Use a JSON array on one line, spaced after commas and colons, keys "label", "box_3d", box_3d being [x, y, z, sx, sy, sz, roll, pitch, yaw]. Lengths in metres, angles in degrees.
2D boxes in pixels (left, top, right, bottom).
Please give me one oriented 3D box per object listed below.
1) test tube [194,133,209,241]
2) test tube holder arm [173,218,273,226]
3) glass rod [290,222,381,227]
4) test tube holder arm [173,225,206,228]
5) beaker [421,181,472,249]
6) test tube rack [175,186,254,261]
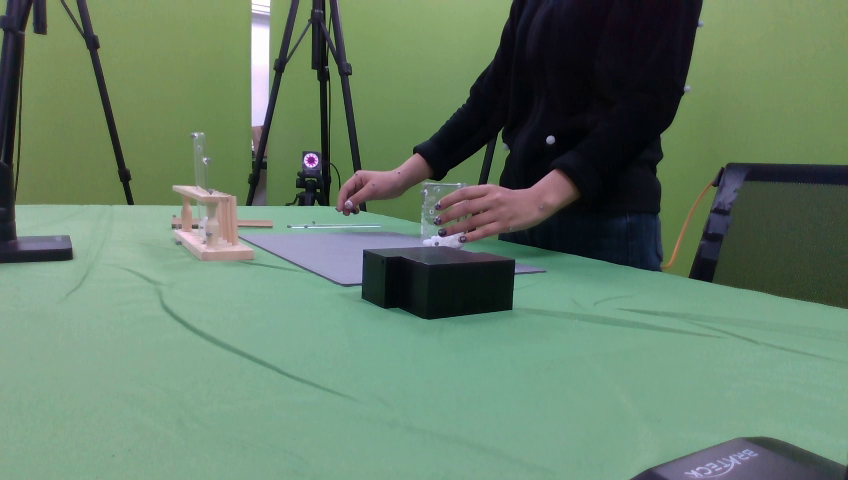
[{"label": "test tube", "box_3d": [-0.307, -0.074, 0.842, 0.017, 0.150, 0.017, -3, 2, 0]}, {"label": "test tube holder arm", "box_3d": [-0.371, -0.033, 1.128, 0.179, 0.015, 0.013, -1, -22, -26]}, {"label": "glass rod", "box_3d": [-0.178, -0.033, 1.247, 0.201, 0.008, 0.008, -2, 8, -30]}, {"label": "test tube holder arm", "box_3d": [-0.415, -0.030, 1.113, 0.088, 0.015, 0.010, -1, -22, -25]}, {"label": "beaker", "box_3d": [0.031, -0.039, 0.921, 0.074, 0.100, 0.083, -1, 8, -23]}, {"label": "test tube rack", "box_3d": [-0.314, -0.031, 0.889, 0.067, 0.085, 0.241, -2, 8, -30]}]
